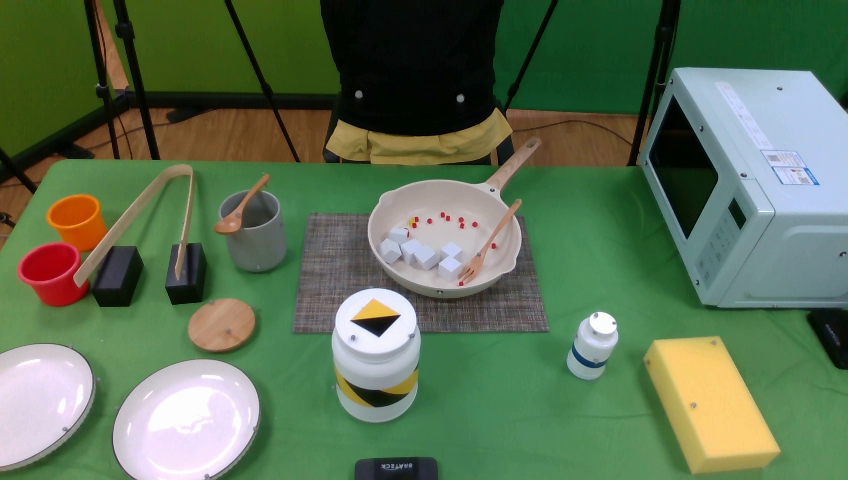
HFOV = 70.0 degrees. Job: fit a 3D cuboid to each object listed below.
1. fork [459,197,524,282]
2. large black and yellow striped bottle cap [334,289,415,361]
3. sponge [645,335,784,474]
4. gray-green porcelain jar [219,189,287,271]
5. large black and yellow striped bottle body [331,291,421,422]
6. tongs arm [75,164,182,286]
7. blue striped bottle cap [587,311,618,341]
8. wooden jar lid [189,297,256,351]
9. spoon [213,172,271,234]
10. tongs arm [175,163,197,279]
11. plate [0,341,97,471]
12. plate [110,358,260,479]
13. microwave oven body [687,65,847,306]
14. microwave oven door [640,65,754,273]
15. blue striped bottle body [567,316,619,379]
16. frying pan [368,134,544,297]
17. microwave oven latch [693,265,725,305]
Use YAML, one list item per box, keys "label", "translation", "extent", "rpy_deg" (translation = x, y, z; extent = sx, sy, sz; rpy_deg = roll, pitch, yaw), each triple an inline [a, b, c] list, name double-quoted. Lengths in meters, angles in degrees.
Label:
- label: "fork"
  translation: [0.132, -0.004, 1.158]
  extent: [0.028, 0.019, 0.207]
  rpy_deg: [28, 75, 30]
- label: "large black and yellow striped bottle cap"
  translation: [-0.069, 0.117, 0.850]
  extent: [0.115, 0.019, 0.114]
  rpy_deg: [2, 45, -2]
- label: "sponge"
  translation: [0.449, 0.253, 0.956]
  extent: [0.118, 0.061, 0.205]
  rpy_deg: [-4, 46, -7]
- label: "gray-green porcelain jar"
  translation: [-0.309, -0.014, 1.113]
  extent: [0.106, 0.127, 0.105]
  rpy_deg: [2, 46, -2]
- label: "large black and yellow striped bottle body"
  translation: [-0.071, 0.175, 0.911]
  extent: [0.131, 0.185, 0.130]
  rpy_deg: [2, 47, -2]
- label: "tongs arm"
  translation: [-0.547, -0.044, 1.143]
  extent: [0.028, 0.028, 0.385]
  rpy_deg: [-2, 34, 7]
- label: "blue striped bottle cap"
  translation: [0.279, 0.134, 0.947]
  extent: [0.044, 0.021, 0.044]
  rpy_deg: [2, 45, -2]
- label: "wooden jar lid"
  translation: [-0.342, 0.145, 1.033]
  extent: [0.108, 0.021, 0.107]
  rpy_deg: [2, 45, -2]
- label: "spoon"
  translation: [-0.312, -0.069, 1.068]
  extent: [0.041, 0.022, 0.193]
  rpy_deg: [10, 43, 10]
- label: "tongs arm"
  translation: [-0.462, -0.049, 1.149]
  extent: [0.051, 0.026, 0.382]
  rpy_deg: [-8, 36, -7]
- label: "plate"
  translation: [-0.599, 0.247, 0.904]
  extent: [0.209, 0.038, 0.208]
  rpy_deg: [2, 47, -2]
- label: "plate"
  translation: [-0.349, 0.273, 0.899]
  extent: [0.208, 0.039, 0.206]
  rpy_deg: [2, 46, -2]
- label: "microwave oven body"
  translation: [0.669, -0.111, 1.176]
  extent: [0.326, 0.261, 0.439]
  rpy_deg: [0, 46, -3]
- label: "microwave oven door"
  translation: [0.523, -0.147, 1.193]
  extent: [0.039, 0.245, 0.353]
  rpy_deg: [0, 47, -3]
- label: "blue striped bottle body"
  translation: [0.276, 0.168, 0.984]
  extent: [0.063, 0.121, 0.062]
  rpy_deg: [2, 46, -2]
- label: "frying pan"
  translation: [0.104, -0.069, 1.205]
  extent: [0.305, 0.103, 0.487]
  rpy_deg: [32, 61, 23]
- label: "microwave oven latch"
  translation: [0.523, 0.081, 1.115]
  extent: [0.030, 0.029, 0.078]
  rpy_deg: [3, 46, -1]
